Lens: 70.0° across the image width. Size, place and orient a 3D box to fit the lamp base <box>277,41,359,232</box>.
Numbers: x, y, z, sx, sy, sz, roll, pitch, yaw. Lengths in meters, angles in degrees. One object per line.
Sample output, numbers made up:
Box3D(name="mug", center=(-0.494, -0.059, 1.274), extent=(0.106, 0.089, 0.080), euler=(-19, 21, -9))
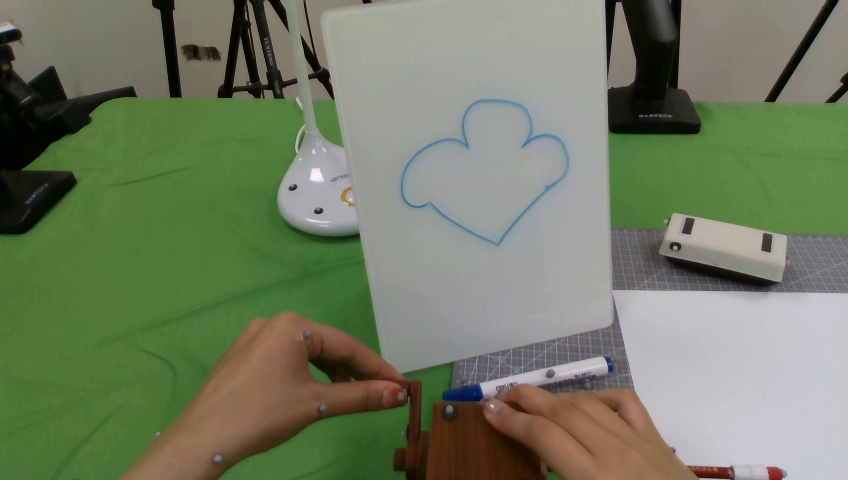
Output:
Box3D(name="lamp base", center=(-0.111, -0.127, 0.699), extent=(0.161, 0.182, 0.177), euler=(-30, 44, -29))

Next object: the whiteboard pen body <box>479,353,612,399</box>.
Box3D(name="whiteboard pen body", center=(0.089, 0.115, 0.504), extent=(0.141, 0.017, 0.017), euler=(-11, 39, -7))

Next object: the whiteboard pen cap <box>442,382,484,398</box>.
Box3D(name="whiteboard pen cap", center=(0.032, 0.127, 0.496), extent=(0.033, 0.018, 0.018), euler=(-11, 40, -8))

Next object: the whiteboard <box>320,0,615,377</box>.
Box3D(name="whiteboard", center=(0.040, -0.063, 0.555), extent=(0.217, 0.307, 0.142), euler=(-11, 20, -7))

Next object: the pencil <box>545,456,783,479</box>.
Box3D(name="pencil", center=(0.118, 0.138, 0.370), extent=(0.194, 0.012, 0.012), euler=(1, 39, 3))

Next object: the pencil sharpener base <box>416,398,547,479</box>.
Box3D(name="pencil sharpener base", center=(0.037, 0.158, 0.396), extent=(0.076, 0.108, 0.061), euler=(0, 40, 6))

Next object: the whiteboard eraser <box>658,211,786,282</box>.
Box3D(name="whiteboard eraser", center=(0.298, 0.007, 0.608), extent=(0.112, 0.042, 0.055), euler=(15, 44, 22))

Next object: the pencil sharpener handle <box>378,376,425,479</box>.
Box3D(name="pencil sharpener handle", center=(-0.015, 0.121, 0.387), extent=(0.030, 0.036, 0.067), euler=(0, 73, 6))
